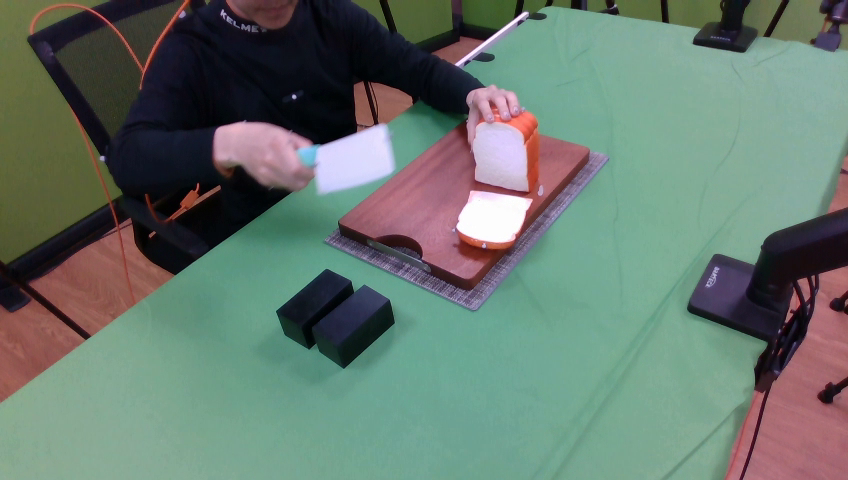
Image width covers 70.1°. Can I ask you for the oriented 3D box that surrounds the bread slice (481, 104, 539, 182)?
[{"bbox_3d":[0.144,-0.162,1.008,0.106,0.135,0.018,23,50,23],"label":"bread slice"}]

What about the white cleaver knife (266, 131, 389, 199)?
[{"bbox_3d":[-0.133,-0.085,0.765,0.022,0.066,0.284,-8,4,-38],"label":"white cleaver knife"}]

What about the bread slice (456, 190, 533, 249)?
[{"bbox_3d":[0.105,-0.032,0.945,0.104,0.019,0.131,11,40,16],"label":"bread slice"}]
